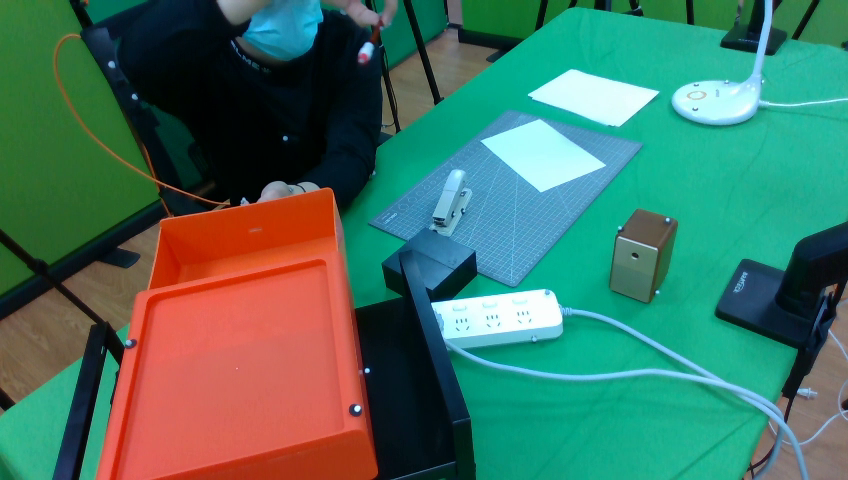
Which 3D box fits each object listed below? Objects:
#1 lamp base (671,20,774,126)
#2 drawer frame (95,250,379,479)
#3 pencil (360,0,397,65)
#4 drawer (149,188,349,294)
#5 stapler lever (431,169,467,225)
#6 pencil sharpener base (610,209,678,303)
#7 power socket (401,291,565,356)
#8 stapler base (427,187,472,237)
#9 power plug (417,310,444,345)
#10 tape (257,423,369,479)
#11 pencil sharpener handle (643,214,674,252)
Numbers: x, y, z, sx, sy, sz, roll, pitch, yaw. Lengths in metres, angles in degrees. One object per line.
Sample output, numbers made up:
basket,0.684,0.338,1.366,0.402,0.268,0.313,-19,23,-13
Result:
lamp base,0.581,-0.332,1.154,0.179,0.181,0.160,2,41,7
drawer frame,-0.155,0.119,0.531,0.202,0.083,0.212,-12,41,-6
pencil,-0.045,-0.278,0.739,0.012,0.012,0.193,6,54,16
drawer,-0.177,0.049,0.622,0.195,0.073,0.210,-11,42,-5
stapler lever,0.043,-0.074,1.010,0.026,0.040,0.118,9,44,21
pencil sharpener base,0.304,0.021,0.839,0.061,0.107,0.077,21,47,30
power socket,0.080,0.112,0.822,0.227,0.033,0.072,-6,41,0
stapler base,0.045,-0.057,1.028,0.041,0.024,0.130,9,44,21
power plug,0.006,0.122,0.785,0.035,0.053,0.072,0,40,9
tape,-0.121,0.263,0.660,0.117,0.053,0.116,-5,39,4
pencil sharpener handle,0.338,-0.016,0.857,0.035,0.068,0.031,1,35,44
